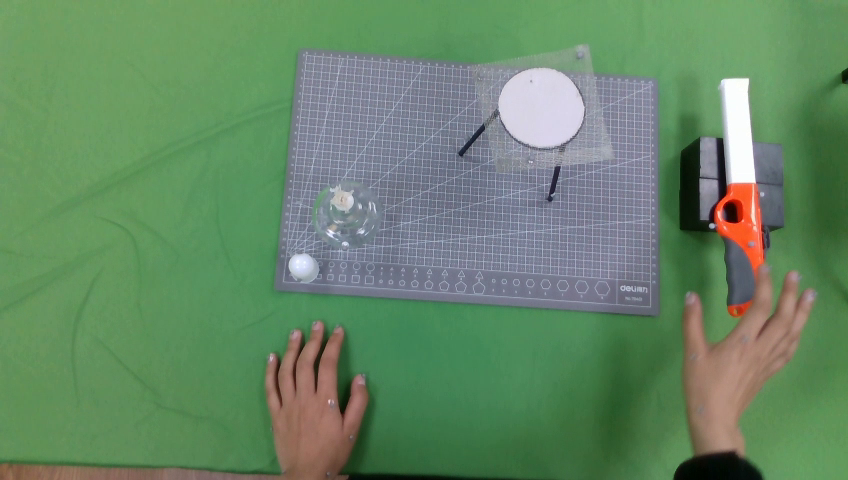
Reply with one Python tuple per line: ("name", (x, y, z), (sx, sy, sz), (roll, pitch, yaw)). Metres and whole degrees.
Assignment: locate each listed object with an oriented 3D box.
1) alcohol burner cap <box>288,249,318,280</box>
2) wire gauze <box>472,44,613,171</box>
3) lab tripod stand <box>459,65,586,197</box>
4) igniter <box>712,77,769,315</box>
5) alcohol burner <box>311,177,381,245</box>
("alcohol burner cap", (-0.138, 0.026, 0.679), (0.034, 0.048, 0.033), (1, 79, -4))
("wire gauze", (0.119, -0.133, 0.608), (0.125, 0.011, 0.121), (-9, 80, -5))
("lab tripod stand", (0.117, -0.127, 0.675), (0.148, 0.132, 0.147), (1, 78, -2))
("igniter", (0.355, -0.053, 0.686), (0.057, 0.025, 0.275), (1, 79, 8))
("alcohol burner", (-0.086, -0.035, 0.656), (0.078, 0.119, 0.077), (1, 81, -4))
